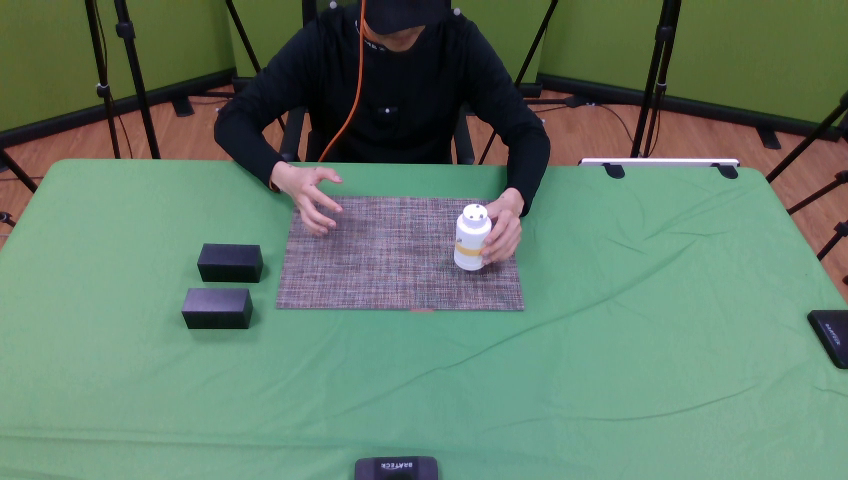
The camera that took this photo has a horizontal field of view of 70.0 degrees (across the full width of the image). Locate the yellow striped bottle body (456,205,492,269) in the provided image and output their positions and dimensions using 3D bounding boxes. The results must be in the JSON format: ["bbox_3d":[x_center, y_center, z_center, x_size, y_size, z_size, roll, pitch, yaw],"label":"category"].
[{"bbox_3d":[0.090,-0.009,1.095,0.063,0.121,0.062,-3,44,4],"label":"yellow striped bottle body"}]

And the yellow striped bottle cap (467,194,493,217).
[{"bbox_3d":[0.096,-0.059,1.046,0.044,0.019,0.044,5,39,-3],"label":"yellow striped bottle cap"}]
